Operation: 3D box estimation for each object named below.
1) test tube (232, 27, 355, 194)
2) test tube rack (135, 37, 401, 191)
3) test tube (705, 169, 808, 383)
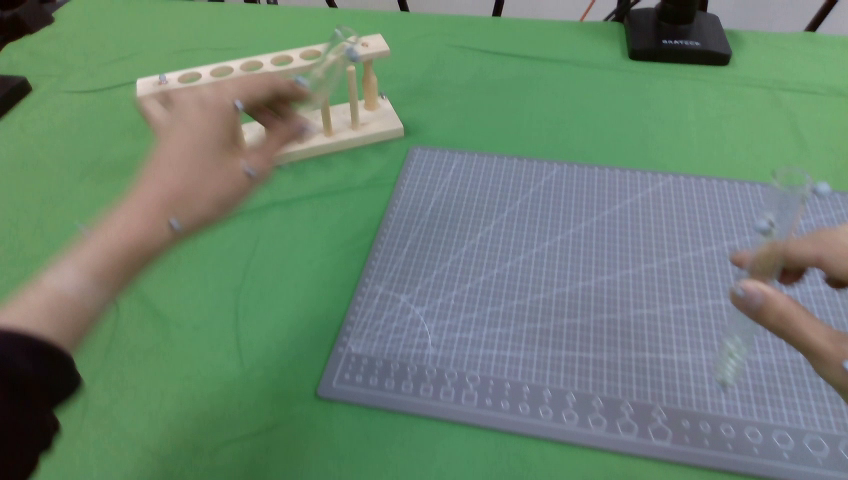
[{"bbox_3d":[-0.090,-0.078,0.396,0.017,0.151,0.017,27,40,-25],"label":"test tube"},{"bbox_3d":[-0.150,-0.130,0.612,0.243,0.086,0.066,-15,47,-13],"label":"test tube rack"},{"bbox_3d":[0.162,0.027,0.304,0.017,0.152,0.017,-5,44,6],"label":"test tube"}]
